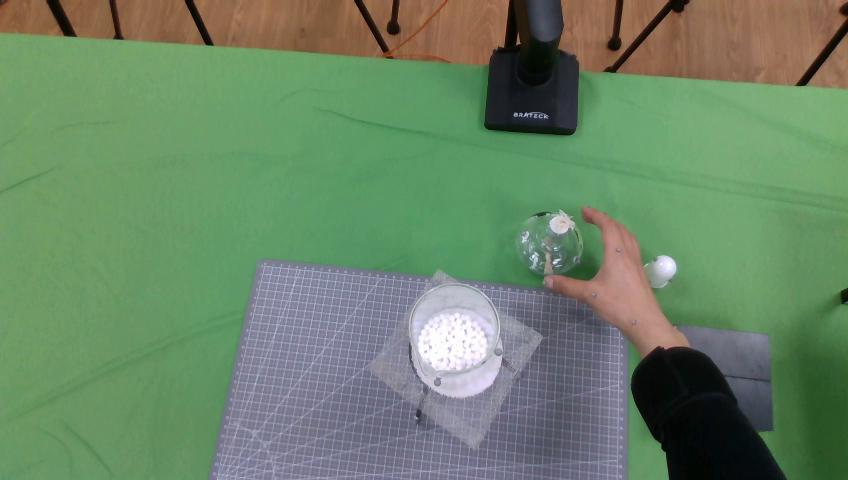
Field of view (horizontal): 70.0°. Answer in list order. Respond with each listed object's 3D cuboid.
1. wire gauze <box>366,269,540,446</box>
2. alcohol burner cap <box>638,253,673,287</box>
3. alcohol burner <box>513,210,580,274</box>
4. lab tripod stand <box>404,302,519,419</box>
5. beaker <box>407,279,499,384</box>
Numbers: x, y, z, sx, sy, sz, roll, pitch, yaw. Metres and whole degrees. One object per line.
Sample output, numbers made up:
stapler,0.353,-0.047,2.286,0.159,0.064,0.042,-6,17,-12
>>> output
wire gauze,0.028,0.106,0.570,0.124,0.011,0.121,34,76,10
alcohol burner cap,0.273,0.033,0.709,0.034,0.048,0.033,-1,70,3
alcohol burner,0.142,-0.003,0.688,0.078,0.120,0.077,0,71,0
lab tripod stand,0.033,0.123,0.634,0.148,0.132,0.147,0,69,1
beaker,0.022,0.087,0.526,0.073,0.101,0.084,30,73,12
